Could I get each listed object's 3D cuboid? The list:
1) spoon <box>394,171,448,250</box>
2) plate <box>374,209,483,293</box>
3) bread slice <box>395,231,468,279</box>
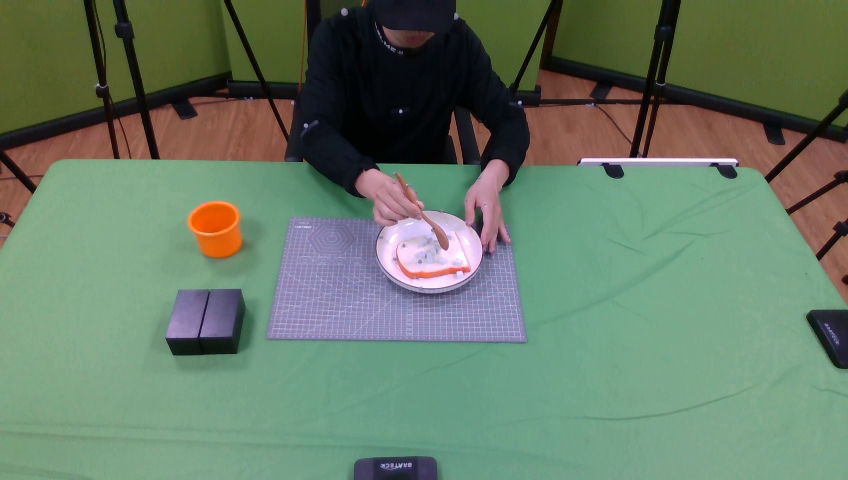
[{"bbox_3d":[-0.004,-0.050,1.086,0.021,0.195,0.041,-45,38,-8],"label":"spoon"},{"bbox_3d":[0.009,0.024,1.160,0.209,0.038,0.208,2,46,-2],"label":"plate"},{"bbox_3d":[0.011,0.030,1.159,0.132,0.019,0.104,-8,47,-14],"label":"bread slice"}]
